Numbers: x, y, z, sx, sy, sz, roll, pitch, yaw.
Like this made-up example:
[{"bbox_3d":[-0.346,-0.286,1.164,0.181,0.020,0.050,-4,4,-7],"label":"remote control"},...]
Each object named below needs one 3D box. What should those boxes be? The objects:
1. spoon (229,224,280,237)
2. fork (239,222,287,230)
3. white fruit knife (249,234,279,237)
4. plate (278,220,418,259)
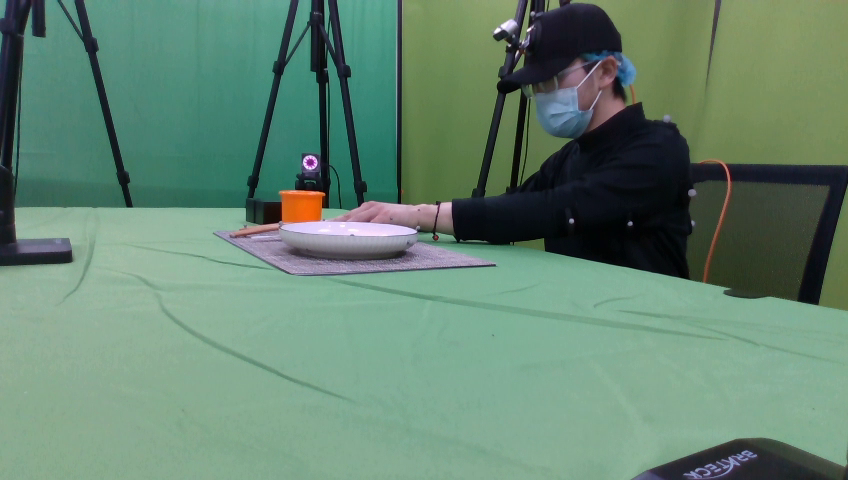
[{"bbox_3d":[-0.248,-0.020,1.071,0.195,0.021,0.041,-3,25,-36],"label":"spoon"},{"bbox_3d":[-0.241,-0.025,1.125,0.208,0.018,0.028,-1,16,-35],"label":"fork"},{"bbox_3d":[-0.203,-0.012,1.045,0.208,0.016,0.027,-3,4,-41],"label":"white fruit knife"},{"bbox_3d":[-0.114,-0.002,0.914,0.209,0.038,0.209,2,7,0],"label":"plate"}]
